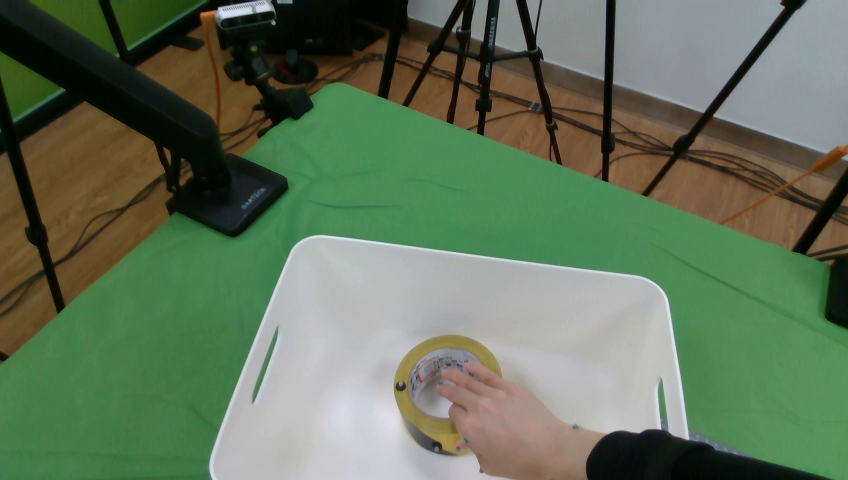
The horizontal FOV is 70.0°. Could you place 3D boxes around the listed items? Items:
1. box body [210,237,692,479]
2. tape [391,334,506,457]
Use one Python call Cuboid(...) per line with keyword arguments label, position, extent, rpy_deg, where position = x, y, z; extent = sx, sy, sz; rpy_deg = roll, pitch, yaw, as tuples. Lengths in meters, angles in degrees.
Cuboid(label="box body", position=(0.031, 0.159, 0.569), extent=(0.364, 0.162, 0.252), rpy_deg=(7, 49, 3))
Cuboid(label="tape", position=(0.026, 0.157, 0.624), extent=(0.117, 0.053, 0.115), rpy_deg=(-4, 49, 4))
